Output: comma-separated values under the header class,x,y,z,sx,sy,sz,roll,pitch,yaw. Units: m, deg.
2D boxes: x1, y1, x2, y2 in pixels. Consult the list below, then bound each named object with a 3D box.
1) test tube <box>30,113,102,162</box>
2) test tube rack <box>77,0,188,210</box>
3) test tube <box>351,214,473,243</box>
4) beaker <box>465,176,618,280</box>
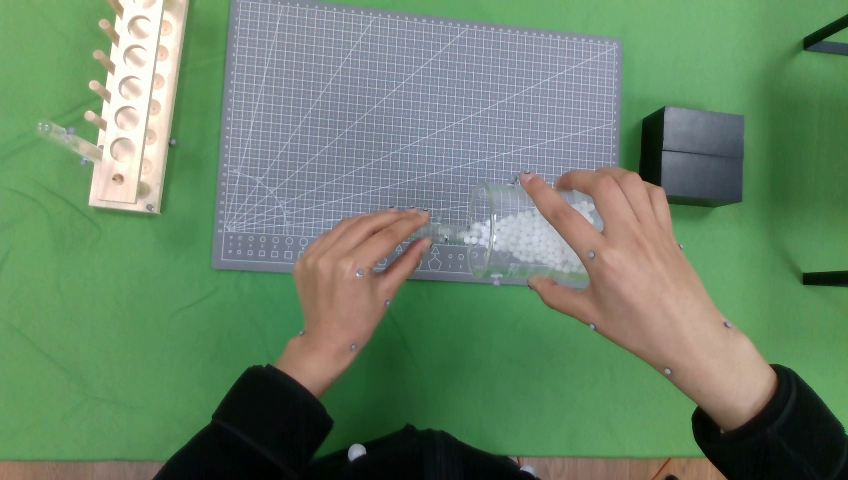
class,x,y,z,sx,sy,sz,roll,pitch,yaw
test tube,-0.311,-0.088,0.541,0.017,0.150,0.017,0,87,-9
test tube rack,-0.290,-0.157,0.594,0.067,0.085,0.242,7,86,-9
test tube,-0.017,-0.012,0.543,0.017,0.149,0.017,-8,101,-44
beaker,0.086,-0.006,0.462,0.100,0.084,0.074,4,83,-10
